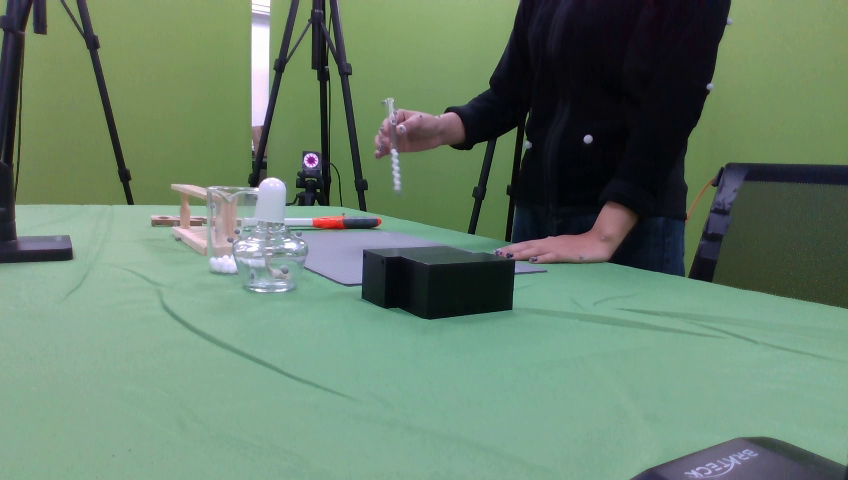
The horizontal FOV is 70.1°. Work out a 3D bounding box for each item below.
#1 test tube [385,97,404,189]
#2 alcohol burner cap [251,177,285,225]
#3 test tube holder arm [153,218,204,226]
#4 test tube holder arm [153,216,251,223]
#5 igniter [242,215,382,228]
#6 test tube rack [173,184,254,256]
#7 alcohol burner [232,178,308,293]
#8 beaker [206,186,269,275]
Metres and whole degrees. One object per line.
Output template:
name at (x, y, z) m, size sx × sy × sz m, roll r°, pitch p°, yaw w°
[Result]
test tube at (-0.047, -0.156, 0.975) m, size 0.017 × 0.150 × 0.017 m, roll -6°, pitch 0°, yaw 0°
alcohol burner cap at (-0.160, -0.041, 0.628) m, size 0.034 × 0.048 × 0.034 m, roll 9°, pitch 6°, yaw -1°
test tube holder arm at (-0.459, -0.034, 1.132) m, size 0.088 × 0.015 × 0.010 m, roll -1°, pitch 43°, yaw -30°
test tube holder arm at (-0.422, -0.039, 1.159) m, size 0.179 × 0.015 × 0.013 m, roll -2°, pitch 43°, yaw -31°
igniter at (-0.212, -0.036, 1.186) m, size 0.278 × 0.025 × 0.057 m, roll -2°, pitch -2°, yaw -31°
test tube rack at (-0.328, -0.036, 0.927) m, size 0.067 × 0.085 × 0.241 m, roll -2°, pitch 9°, yaw -32°
alcohol burner at (-0.161, -0.006, 0.632) m, size 0.078 × 0.119 × 0.078 m, roll 1°, pitch 9°, yaw 0°
beaker at (-0.220, -0.011, 0.717) m, size 0.074 × 0.100 × 0.084 m, roll 2°, pitch 8°, yaw -3°
